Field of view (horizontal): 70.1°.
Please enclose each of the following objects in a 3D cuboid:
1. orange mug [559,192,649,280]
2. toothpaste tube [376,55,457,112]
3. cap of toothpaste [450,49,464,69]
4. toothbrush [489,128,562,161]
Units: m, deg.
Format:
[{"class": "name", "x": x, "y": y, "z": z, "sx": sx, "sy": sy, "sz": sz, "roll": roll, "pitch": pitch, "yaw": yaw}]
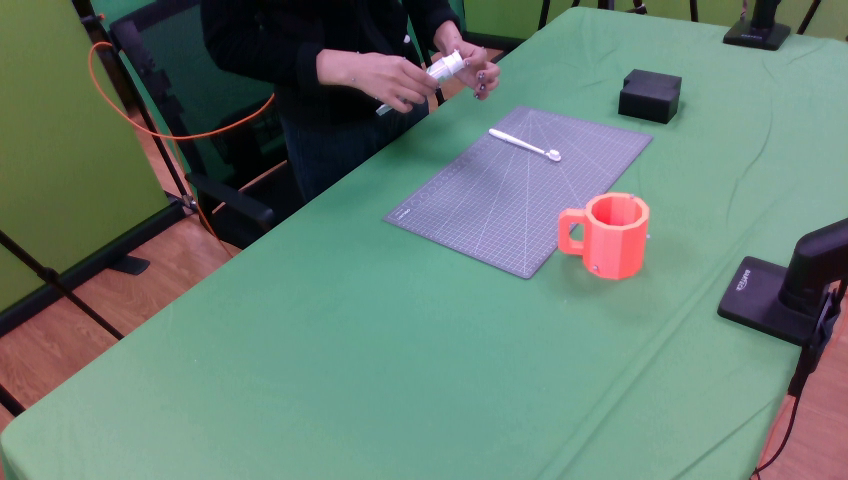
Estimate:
[{"class": "orange mug", "x": 0.261, "y": -0.008, "z": 0.884, "sx": 0.126, "sy": 0.101, "sz": 0.083, "roll": 9, "pitch": 43, "yaw": 14}, {"class": "toothpaste tube", "x": -0.012, "y": -0.266, "z": 1.037, "sx": 0.165, "sy": 0.034, "sz": 0.055, "roll": -32, "pitch": 3, "yaw": 3}, {"class": "cap of toothpaste", "x": 0.055, "y": -0.308, "z": 1.030, "sx": 0.011, "sy": 0.037, "sz": 0.037, "roll": -30, "pitch": 43, "yaw": -1}, {"class": "toothbrush", "x": 0.191, "y": -0.188, "z": 1.167, "sx": 0.014, "sy": 0.017, "sz": 0.180, "roll": -44, "pitch": 48, "yaw": -17}]
